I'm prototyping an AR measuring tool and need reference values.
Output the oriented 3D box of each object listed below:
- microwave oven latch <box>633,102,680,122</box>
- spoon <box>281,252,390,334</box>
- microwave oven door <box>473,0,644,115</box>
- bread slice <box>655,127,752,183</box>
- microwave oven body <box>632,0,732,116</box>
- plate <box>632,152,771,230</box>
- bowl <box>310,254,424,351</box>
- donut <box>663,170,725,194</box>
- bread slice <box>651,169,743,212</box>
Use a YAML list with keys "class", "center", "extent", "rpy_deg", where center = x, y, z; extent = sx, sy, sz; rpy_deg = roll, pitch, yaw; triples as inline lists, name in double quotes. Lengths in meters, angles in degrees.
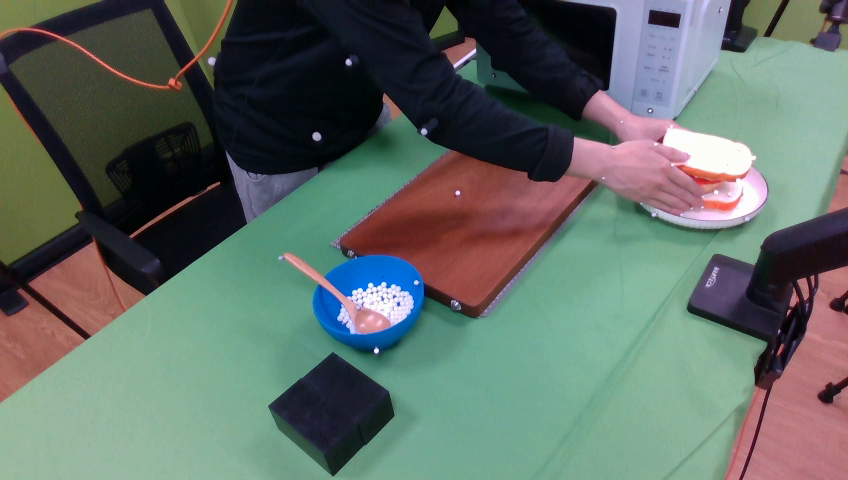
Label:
- class: "microwave oven latch"
  center: [0.444, -0.249, 1.157]
  extent: [0.078, 0.029, 0.030]
  rpy_deg: [22, 49, 30]
- class: "spoon"
  center: [-0.122, 0.070, 0.812]
  extent: [0.193, 0.022, 0.042]
  rpy_deg: [38, 61, 16]
- class: "microwave oven door"
  center: [0.257, -0.396, 1.199]
  extent: [0.353, 0.245, 0.039]
  rpy_deg: [21, 48, 29]
- class: "bread slice"
  center: [0.434, -0.131, 0.938]
  extent: [0.134, 0.018, 0.107]
  rpy_deg: [15, 46, 17]
- class: "microwave oven body"
  center: [0.377, -0.462, 1.267]
  extent: [0.438, 0.261, 0.327]
  rpy_deg: [21, 48, 30]
- class: "plate"
  center: [0.447, -0.081, 0.988]
  extent: [0.207, 0.039, 0.206]
  rpy_deg: [-4, 40, 4]
- class: "bowl"
  center: [-0.072, 0.097, 0.821]
  extent: [0.151, 0.077, 0.150]
  rpy_deg: [-4, 40, 4]
- class: "donut"
  center: [0.432, -0.111, 0.960]
  extent: [0.099, 0.048, 0.098]
  rpy_deg: [-6, 42, 6]
- class: "bread slice"
  center: [0.445, -0.090, 0.980]
  extent: [0.131, 0.019, 0.105]
  rpy_deg: [13, 50, 22]
